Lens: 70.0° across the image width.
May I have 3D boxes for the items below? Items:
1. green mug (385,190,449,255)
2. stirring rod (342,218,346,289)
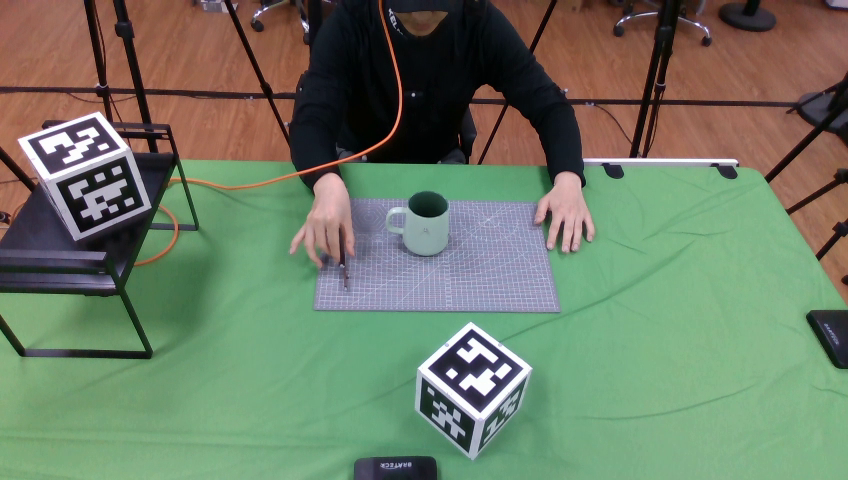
[{"bbox_3d":[-0.013,-0.033,1.166,0.125,0.105,0.092,2,46,-2],"label":"green mug"},{"bbox_3d":[-0.154,0.024,1.161,0.006,0.014,0.175,-7,48,-2],"label":"stirring rod"}]
